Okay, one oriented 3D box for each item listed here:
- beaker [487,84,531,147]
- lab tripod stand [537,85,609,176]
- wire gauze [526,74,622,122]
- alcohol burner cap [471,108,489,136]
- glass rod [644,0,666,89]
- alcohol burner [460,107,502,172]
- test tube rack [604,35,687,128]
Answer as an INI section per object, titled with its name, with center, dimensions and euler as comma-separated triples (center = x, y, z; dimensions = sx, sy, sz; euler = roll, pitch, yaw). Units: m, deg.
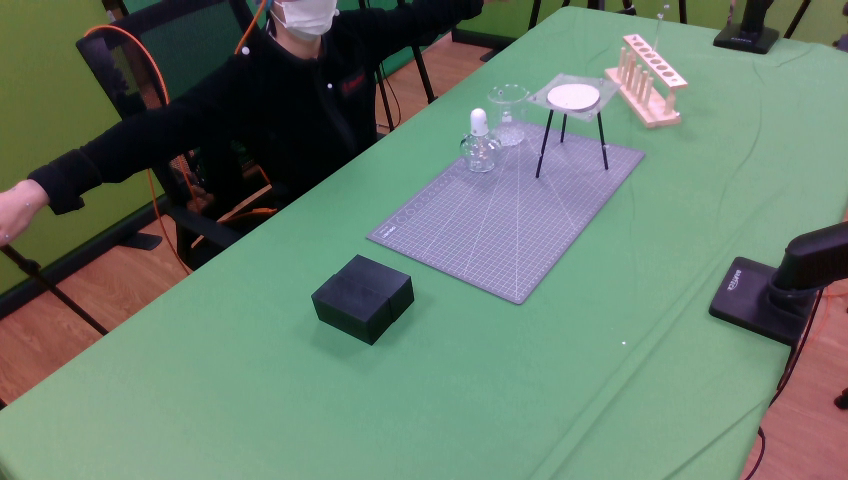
[beaker]
center = 0.163, -0.237, 1.161
dimensions = 0.084, 0.101, 0.073
euler = -10, 41, -3
[lab tripod stand]
center = 0.259, -0.192, 1.068
dimensions = 0.148, 0.132, 0.147
euler = -4, 42, 4
[wire gauze]
center = 0.255, -0.248, 1.030
dimensions = 0.124, 0.011, 0.122
euler = 24, 51, 32
[alcohol burner cap]
center = 0.098, -0.211, 1.074
dimensions = 0.034, 0.048, 0.033
euler = -6, 41, 6
[glass rod]
center = 0.465, -0.397, 1.215
dimensions = 0.008, 0.200, 0.008
euler = 0, 39, 1
[alcohol burner]
center = 0.102, -0.185, 1.098
dimensions = 0.078, 0.119, 0.077
euler = -6, 40, 5
[test tube rack]
center = 0.447, -0.330, 1.241
dimensions = 0.067, 0.085, 0.241
euler = -9, 41, -2
